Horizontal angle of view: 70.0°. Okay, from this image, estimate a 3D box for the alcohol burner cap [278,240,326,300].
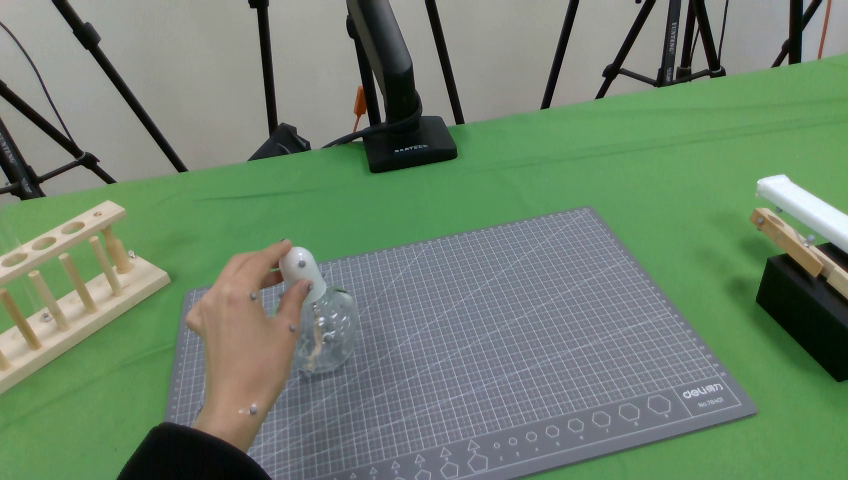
[{"bbox_3d":[-0.100,0.021,0.488,0.034,0.048,0.033,-5,42,5],"label":"alcohol burner cap"}]

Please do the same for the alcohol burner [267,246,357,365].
[{"bbox_3d":[-0.097,0.049,0.510,0.078,0.120,0.077,-3,39,3],"label":"alcohol burner"}]

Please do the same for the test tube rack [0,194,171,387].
[{"bbox_3d":[-0.374,0.058,0.571,0.066,0.086,0.242,22,45,32],"label":"test tube rack"}]

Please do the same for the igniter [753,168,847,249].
[{"bbox_3d":[0.367,0.009,0.487,0.057,0.025,0.273,-13,34,-6],"label":"igniter"}]

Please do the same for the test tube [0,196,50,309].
[{"bbox_3d":[-0.382,0.002,0.562,0.017,0.151,0.017,-4,31,3],"label":"test tube"}]

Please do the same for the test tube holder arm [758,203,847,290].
[{"bbox_3d":[0.325,0.021,0.485,0.013,0.015,0.176,-10,37,-11],"label":"test tube holder arm"}]

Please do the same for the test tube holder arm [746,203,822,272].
[{"bbox_3d":[0.309,-0.004,0.519,0.010,0.015,0.087,-10,37,-10],"label":"test tube holder arm"}]
